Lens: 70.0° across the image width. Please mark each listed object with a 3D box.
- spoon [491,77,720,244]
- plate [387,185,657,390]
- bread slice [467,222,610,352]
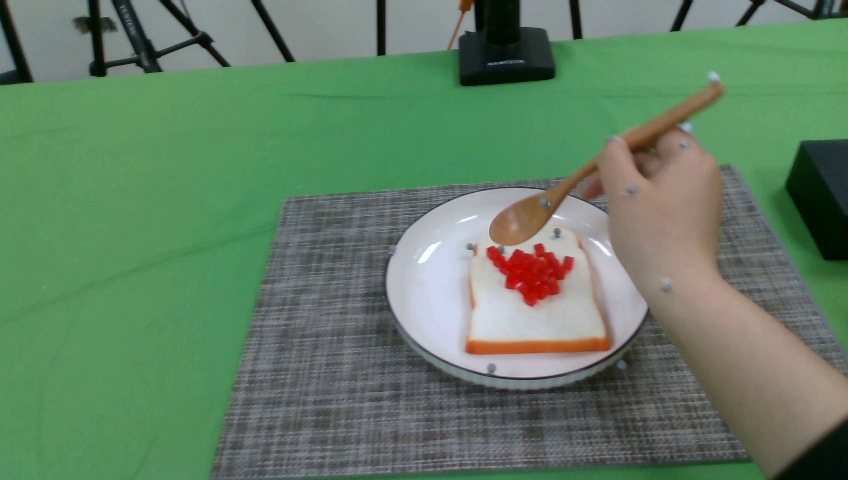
[{"bbox_3d":[0.116,-0.050,0.422,0.022,0.194,0.041,24,49,-25],"label":"spoon"},{"bbox_3d":[0.075,0.034,0.489,0.209,0.038,0.207,-4,44,4],"label":"plate"},{"bbox_3d":[0.087,0.034,0.489,0.105,0.019,0.130,-2,44,6],"label":"bread slice"}]
